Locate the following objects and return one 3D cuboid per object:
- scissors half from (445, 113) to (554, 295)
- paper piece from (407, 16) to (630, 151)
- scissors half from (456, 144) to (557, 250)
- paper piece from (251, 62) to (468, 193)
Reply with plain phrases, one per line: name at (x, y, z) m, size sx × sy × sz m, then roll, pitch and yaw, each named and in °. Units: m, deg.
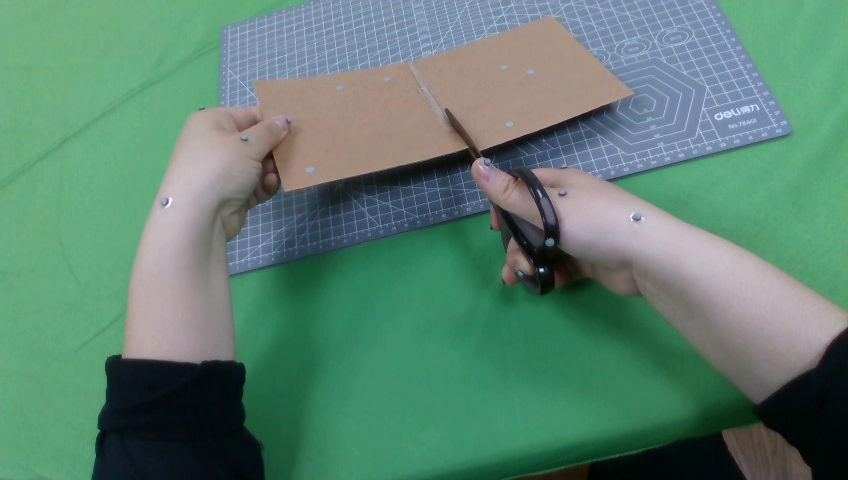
scissors half at (0.045, -0.033, 0.422) m, size 0.013 × 0.040 × 0.173 m, roll -19°, pitch 59°, yaw -9°
paper piece at (0.071, -0.133, 0.489) m, size 0.135 × 0.004 × 0.134 m, roll -20°, pitch 50°, yaw -8°
scissors half at (0.043, -0.048, 0.406) m, size 0.013 × 0.040 × 0.173 m, roll -16°, pitch 33°, yaw -12°
paper piece at (-0.055, -0.093, 0.464) m, size 0.138 × 0.009 × 0.134 m, roll -15°, pitch 44°, yaw -12°
